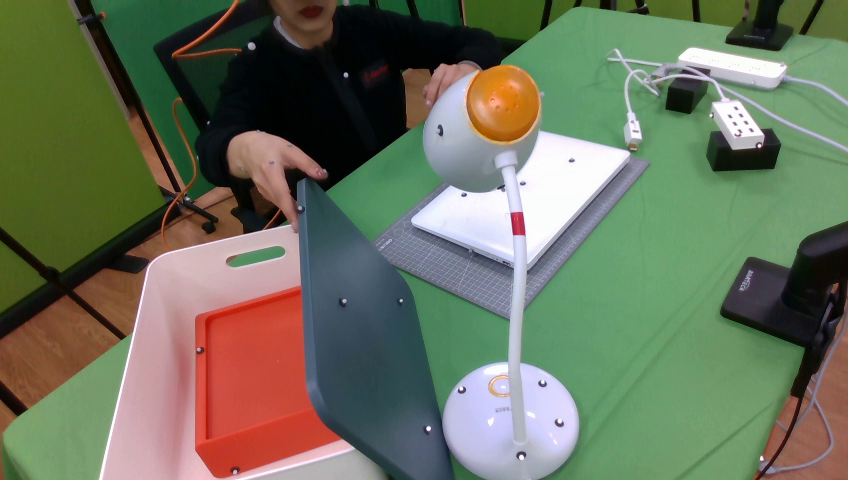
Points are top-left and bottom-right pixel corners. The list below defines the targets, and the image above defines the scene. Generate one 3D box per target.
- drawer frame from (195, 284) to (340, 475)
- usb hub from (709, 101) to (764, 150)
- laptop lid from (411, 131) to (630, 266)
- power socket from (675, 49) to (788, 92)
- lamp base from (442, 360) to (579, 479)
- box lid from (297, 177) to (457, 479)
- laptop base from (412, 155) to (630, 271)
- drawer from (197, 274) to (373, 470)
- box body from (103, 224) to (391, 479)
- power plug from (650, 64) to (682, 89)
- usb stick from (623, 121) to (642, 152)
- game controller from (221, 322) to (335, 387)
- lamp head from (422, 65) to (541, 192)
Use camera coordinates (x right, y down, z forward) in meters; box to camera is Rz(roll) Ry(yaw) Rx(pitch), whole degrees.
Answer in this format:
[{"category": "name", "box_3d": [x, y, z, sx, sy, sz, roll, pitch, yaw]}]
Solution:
[{"category": "drawer frame", "box_3d": [-0.179, 0.160, 0.774, 0.202, 0.083, 0.212, -16, 41, -9]}, {"category": "usb hub", "box_3d": [0.534, -0.199, 1.040, 0.049, 0.025, 0.124, -5, 39, 8]}, {"category": "laptop lid", "box_3d": [0.172, -0.094, 1.050, 0.239, 0.013, 0.358, 23, 49, 36]}, {"category": "power socket", "box_3d": [0.647, -0.363, 1.284, 0.225, 0.033, 0.072, 26, 53, 35]}, {"category": "lamp base", "box_3d": [0.094, 0.158, 0.657, 0.161, 0.181, 0.178, -13, 42, -5]}, {"category": "box lid", "box_3d": [-0.059, 0.103, 0.702, 0.015, 0.265, 0.369, -30, 39, 11]}, {"category": "laptop base", "box_3d": [0.176, -0.084, 1.056, 0.233, 0.023, 0.355, 20, 48, 36]}, {"category": "drawer", "box_3d": [-0.182, 0.159, 0.774, 0.195, 0.073, 0.210, -17, 41, -7]}, {"category": "box body", "box_3d": [-0.190, 0.161, 0.723, 0.255, 0.161, 0.361, -13, 40, -5]}, {"category": "power plug", "box_3d": [0.498, -0.341, 1.263, 0.035, 0.052, 0.072, 20, 10, -7]}, {"category": "usb stick", "box_3d": [0.389, -0.191, 1.128, 0.021, 0.027, 0.059, 9, 61, -10]}, {"category": "game controller", "box_3d": [-0.196, 0.146, 0.813, 0.155, 0.051, 0.096, -17, 12, -11]}, {"category": "lamp head", "box_3d": [0.060, -0.106, 0.560, 0.113, 0.112, 0.122, -16, 0, -8]}]
